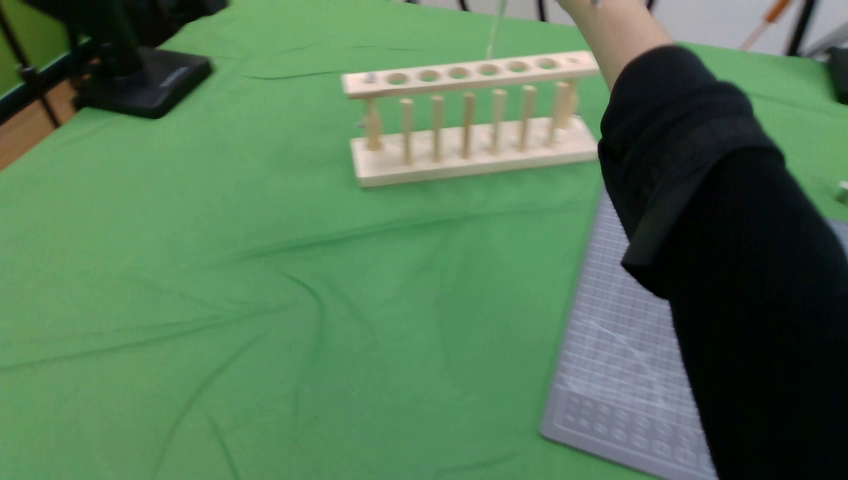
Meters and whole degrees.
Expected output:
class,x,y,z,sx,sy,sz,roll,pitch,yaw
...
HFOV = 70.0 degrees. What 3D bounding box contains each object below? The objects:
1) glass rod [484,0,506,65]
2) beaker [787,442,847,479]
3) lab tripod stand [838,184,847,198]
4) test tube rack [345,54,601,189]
class,x,y,z,sx,sy,sz,roll,pitch,yaw
glass rod,0.063,-0.205,0.427,0.008,0.201,0.008,4,55,-5
beaker,0.211,0.157,0.305,0.083,0.101,0.073,17,47,18
lab tripod stand,0.463,-0.079,0.518,0.148,0.132,0.147,1,45,-1
test tube rack,0.050,-0.116,0.590,0.243,0.086,0.066,-8,45,-8
